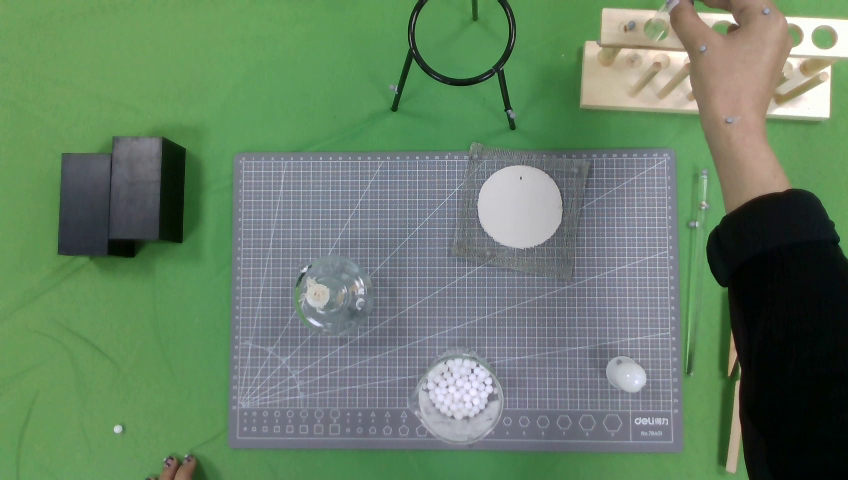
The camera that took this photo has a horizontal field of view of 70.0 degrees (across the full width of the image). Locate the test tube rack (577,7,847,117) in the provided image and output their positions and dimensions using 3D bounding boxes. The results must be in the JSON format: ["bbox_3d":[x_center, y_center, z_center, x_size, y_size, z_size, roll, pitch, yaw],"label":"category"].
[{"bbox_3d":[0.277,-0.166,0.575,0.242,0.085,0.066,3,86,3],"label":"test tube rack"}]

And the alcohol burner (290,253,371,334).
[{"bbox_3d":[-0.090,0.049,0.561,0.078,0.119,0.077,0,85,5],"label":"alcohol burner"}]

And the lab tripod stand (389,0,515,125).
[{"bbox_3d":[0.029,-0.167,0.562,0.148,0.131,0.148,0,88,3],"label":"lab tripod stand"}]

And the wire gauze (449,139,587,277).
[{"bbox_3d":[0.095,-0.034,0.612,0.125,0.011,0.121,11,88,2],"label":"wire gauze"}]

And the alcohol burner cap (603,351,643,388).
[{"bbox_3d":[0.193,0.125,0.581,0.034,0.048,0.034,0,86,3],"label":"alcohol burner cap"}]

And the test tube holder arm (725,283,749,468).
[{"bbox_3d":[0.304,0.131,0.588,0.013,0.015,0.178,2,87,36],"label":"test tube holder arm"}]

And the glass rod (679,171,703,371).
[{"bbox_3d":[0.266,0.031,0.602,0.008,0.008,0.199,5,89,3],"label":"glass rod"}]

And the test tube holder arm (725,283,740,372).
[{"bbox_3d":[0.303,0.086,0.594,0.010,0.015,0.087,3,87,37],"label":"test tube holder arm"}]

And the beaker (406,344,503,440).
[{"bbox_3d":[0.029,0.135,0.559,0.084,0.100,0.074,-8,85,3],"label":"beaker"}]

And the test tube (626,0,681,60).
[{"bbox_3d":[0.204,-0.193,0.530,0.017,0.150,0.017,0,84,3],"label":"test tube"}]

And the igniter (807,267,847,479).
[{"bbox_3d":[0.398,0.164,0.579,0.057,0.025,0.276,9,87,-7],"label":"igniter"}]
